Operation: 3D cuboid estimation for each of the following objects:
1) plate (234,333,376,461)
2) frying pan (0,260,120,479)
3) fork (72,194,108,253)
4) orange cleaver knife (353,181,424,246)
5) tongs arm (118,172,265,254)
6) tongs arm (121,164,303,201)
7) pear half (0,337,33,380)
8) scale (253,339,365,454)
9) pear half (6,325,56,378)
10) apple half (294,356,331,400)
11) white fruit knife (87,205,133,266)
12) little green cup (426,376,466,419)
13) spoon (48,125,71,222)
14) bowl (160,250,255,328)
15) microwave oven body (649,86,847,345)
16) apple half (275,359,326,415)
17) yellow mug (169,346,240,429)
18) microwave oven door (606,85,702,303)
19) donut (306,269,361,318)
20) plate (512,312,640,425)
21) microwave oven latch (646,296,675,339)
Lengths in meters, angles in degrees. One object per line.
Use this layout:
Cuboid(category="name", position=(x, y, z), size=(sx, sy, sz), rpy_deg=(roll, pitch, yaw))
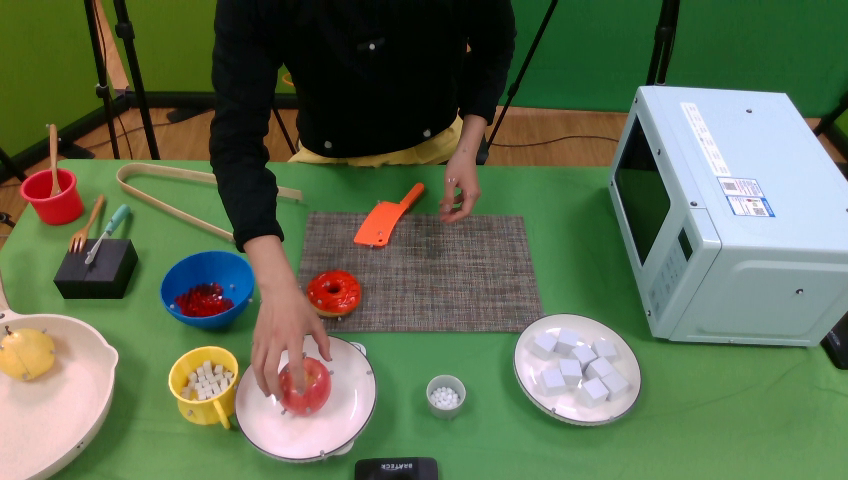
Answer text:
Cuboid(category="plate", position=(-0.174, 0.235, 0.907), size=(0.209, 0.038, 0.208), rpy_deg=(2, 46, -2))
Cuboid(category="frying pan", position=(-0.647, 0.164, 0.936), size=(0.307, 0.103, 0.485), rpy_deg=(-19, 58, -22))
Cuboid(category="fork", position=(-0.634, -0.036, 1.158), size=(0.028, 0.019, 0.206), rpy_deg=(-8, 32, -9))
Cuboid(category="orange cleaver knife", position=(-0.070, -0.059, 1.245), size=(0.077, 0.012, 0.210), rpy_deg=(17, 49, 21))
Cuboid(category="tongs arm", position=(-0.473, -0.054, 1.212), size=(0.386, 0.028, 0.028), rpy_deg=(23, 56, 17))
Cuboid(category="tongs arm", position=(-0.444, -0.114, 1.267), size=(0.384, 0.026, 0.050), rpy_deg=(12, 50, 8))
Cuboid(category="pear half", position=(-0.631, 0.184, 0.921), size=(0.070, 0.088, 0.031), rpy_deg=(29, 49, 19))
Cuboid(category="scale", position=(-0.175, 0.236, 0.951), size=(0.149, 0.032, 0.199), rpy_deg=(4, 46, 0))
Cuboid(category="pear half", position=(-0.608, 0.158, 0.935), size=(0.076, 0.110, 0.056), rpy_deg=(31, 51, 20))
Cuboid(category="apple half", position=(-0.160, 0.202, 0.901), size=(0.081, 0.081, 0.033), rpy_deg=(35, 55, 27))
Cuboid(category="white fruit knife", position=(-0.584, -0.013, 1.129), size=(0.016, 0.027, 0.206), rpy_deg=(0, 31, -5))
Cuboid(category="little green cup", position=(0.033, 0.248, 0.950), size=(0.061, 0.039, 0.061), rpy_deg=(2, 46, -2))
Cuboid(category="spoon", position=(-0.718, -0.131, 1.188), size=(0.041, 0.021, 0.193), rpy_deg=(-3, 90, -6))
Cuboid(category="bowl", position=(-0.362, 0.098, 1.039), size=(0.151, 0.077, 0.150), rpy_deg=(2, 45, -2))
Cuboid(category="microwave oven body", position=(0.567, -0.053, 1.118), size=(0.326, 0.261, 0.439), rpy_deg=(2, 45, -1))
Cuboid(category="apple half", position=(-0.186, 0.222, 0.882), size=(0.080, 0.075, 0.053), rpy_deg=(38, 57, 24))
Cuboid(category="yellow mug", position=(-0.323, 0.231, 0.922), size=(0.100, 0.064, 0.130), rpy_deg=(-24, 53, -26))
Cuboid(category="microwave oven door", position=(0.423, -0.094, 1.140), size=(0.039, 0.245, 0.353), rpy_deg=(2, 46, -1))
Cuboid(category="donut", position=(-0.160, 0.095, 1.074), size=(0.099, 0.048, 0.098), rpy_deg=(3, 46, -3))
Cuboid(category="plate", position=(0.246, 0.213, 0.999), size=(0.208, 0.039, 0.206), rpy_deg=(2, 46, -2))
Cuboid(category="microwave oven latch", position=(0.412, 0.134, 1.061), size=(0.030, 0.029, 0.078), rpy_deg=(4, 45, 1))
